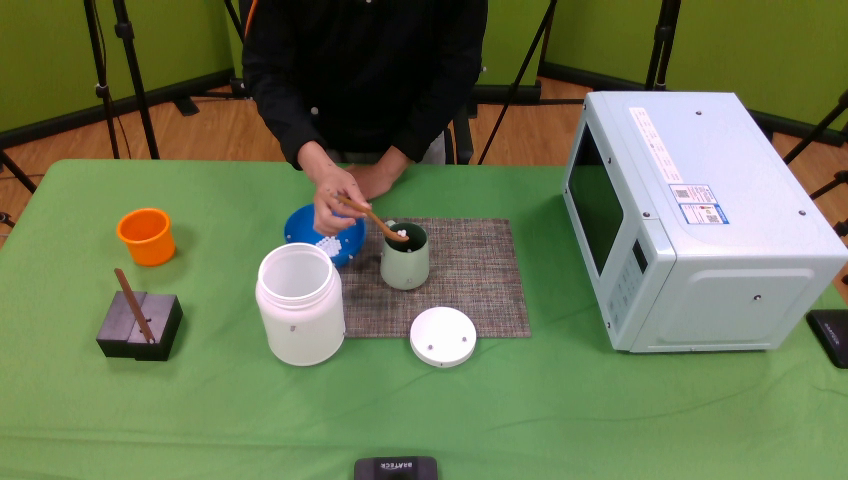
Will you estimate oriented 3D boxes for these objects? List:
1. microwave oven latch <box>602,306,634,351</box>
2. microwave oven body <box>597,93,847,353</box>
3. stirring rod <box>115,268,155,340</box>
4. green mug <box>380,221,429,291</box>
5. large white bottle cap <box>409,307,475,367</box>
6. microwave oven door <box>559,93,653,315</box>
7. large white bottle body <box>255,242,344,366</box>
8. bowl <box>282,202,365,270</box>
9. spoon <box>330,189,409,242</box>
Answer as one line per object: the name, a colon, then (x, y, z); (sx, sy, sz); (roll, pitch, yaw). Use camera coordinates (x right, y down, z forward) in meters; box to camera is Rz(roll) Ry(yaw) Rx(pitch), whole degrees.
microwave oven latch: (0.332, 0.153, 1.044); (0.030, 0.029, 0.078); (0, 45, -4)
microwave oven body: (0.475, -0.041, 1.109); (0.326, 0.261, 0.438); (-1, 45, -4)
stirring rod: (-0.478, 0.103, 0.999); (0.014, 0.006, 0.175); (8, 32, -49)
green mug: (-0.043, 0.020, 1.116); (0.092, 0.105, 0.124); (-20, 50, -21)
large white bottle cap: (0.031, 0.165, 1.041); (0.115, 0.018, 0.114); (2, 47, -2)
microwave oven door: (0.327, -0.074, 1.123); (0.039, 0.245, 0.353); (-1, 46, -5)
large white bottle body: (-0.196, 0.102, 0.967); (0.131, 0.185, 0.130); (2, 49, -2)
bowl: (-0.186, 0.006, 1.136); (0.151, 0.077, 0.150); (3, 46, -3)
spoon: (-0.087, -0.039, 0.993); (0.041, 0.195, 0.021); (28, 82, 43)
